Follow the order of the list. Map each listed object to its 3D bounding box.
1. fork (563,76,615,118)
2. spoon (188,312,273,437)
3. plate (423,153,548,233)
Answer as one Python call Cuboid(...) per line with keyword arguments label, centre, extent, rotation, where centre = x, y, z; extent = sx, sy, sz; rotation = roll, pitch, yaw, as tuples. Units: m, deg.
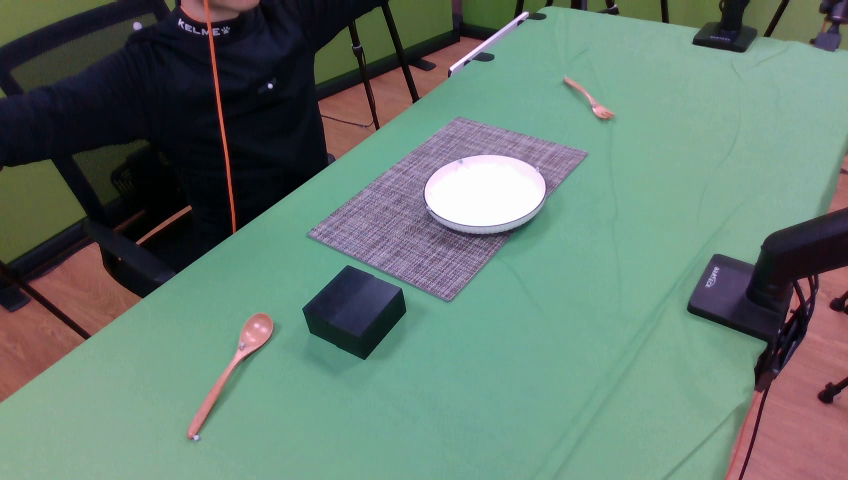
Cuboid(label="fork", centre=(0.341, -0.303, 1.272), extent=(0.028, 0.019, 0.205), rotation=(-23, 44, -2))
Cuboid(label="spoon", centre=(-0.258, 0.173, 0.803), extent=(0.041, 0.021, 0.193), rotation=(20, 45, 6))
Cuboid(label="plate", centre=(0.104, -0.076, 1.024), extent=(0.209, 0.038, 0.208), rotation=(-4, 40, 4))
